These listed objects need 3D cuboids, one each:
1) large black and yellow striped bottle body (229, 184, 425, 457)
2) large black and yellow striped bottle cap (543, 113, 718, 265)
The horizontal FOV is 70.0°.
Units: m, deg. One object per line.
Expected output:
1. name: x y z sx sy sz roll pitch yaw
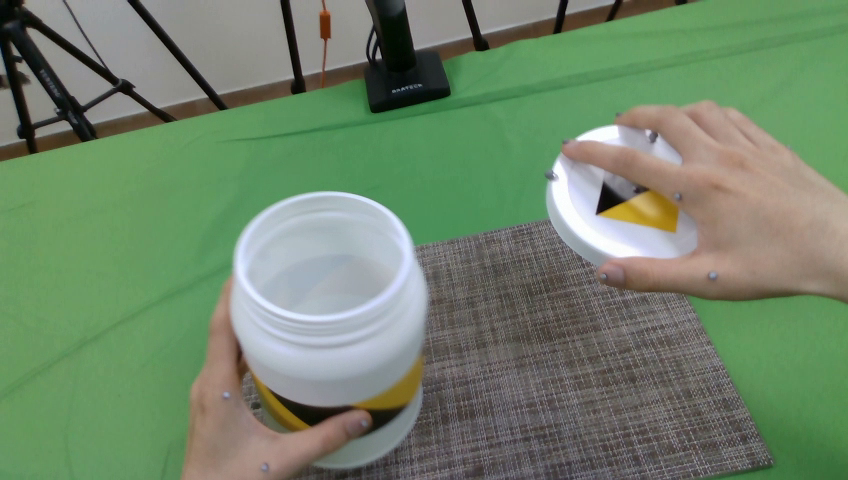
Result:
1. large black and yellow striped bottle body: -0.066 0.062 0.442 0.131 0.185 0.129 2 48 -2
2. large black and yellow striped bottle cap: 0.138 -0.037 0.409 0.115 0.019 0.114 0 61 0
